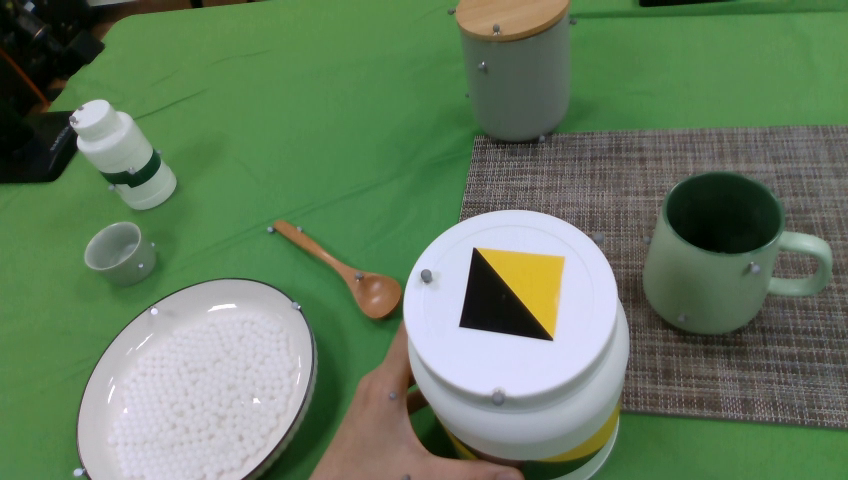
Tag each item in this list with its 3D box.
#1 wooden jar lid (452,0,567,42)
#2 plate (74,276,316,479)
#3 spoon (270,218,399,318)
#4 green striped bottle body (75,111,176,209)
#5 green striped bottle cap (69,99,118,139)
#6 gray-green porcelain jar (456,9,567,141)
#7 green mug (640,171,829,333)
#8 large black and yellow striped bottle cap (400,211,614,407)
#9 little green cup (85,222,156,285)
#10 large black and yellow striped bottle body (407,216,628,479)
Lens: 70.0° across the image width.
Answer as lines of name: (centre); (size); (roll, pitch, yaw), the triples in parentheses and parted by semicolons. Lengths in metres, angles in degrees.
wooden jar lid: (0.081, -0.216, 0.575); (0.108, 0.021, 0.107); (-9, 50, 11)
plate: (-0.189, 0.126, 0.519); (0.209, 0.038, 0.207); (-6, 52, 9)
spoon: (-0.093, 0.019, 0.588); (0.192, 0.022, 0.041); (32, 83, 31)
green striped bottle body: (-0.333, -0.094, 0.668); (0.063, 0.120, 0.062); (-7, 52, 9)
green striped bottle cap: (-0.343, -0.126, 0.628); (0.044, 0.020, 0.044); (-5, 54, 7)
gray-green porcelain jar: (0.093, -0.174, 0.622); (0.106, 0.128, 0.105); (-7, 48, 8)
green mug: (0.231, 0.013, 0.456); (0.125, 0.106, 0.092); (9, 56, 20)
large black and yellow striped bottle cap: (0.044, 0.033, 0.329); (0.115, 0.019, 0.114); (-5, 55, 8)
little green cup: (-0.315, 0.015, 0.633); (0.061, 0.039, 0.061); (-7, 51, 9)
large black and yellow striped bottle body: (0.062, 0.080, 0.396); (0.130, 0.186, 0.129); (-7, 55, 10)
